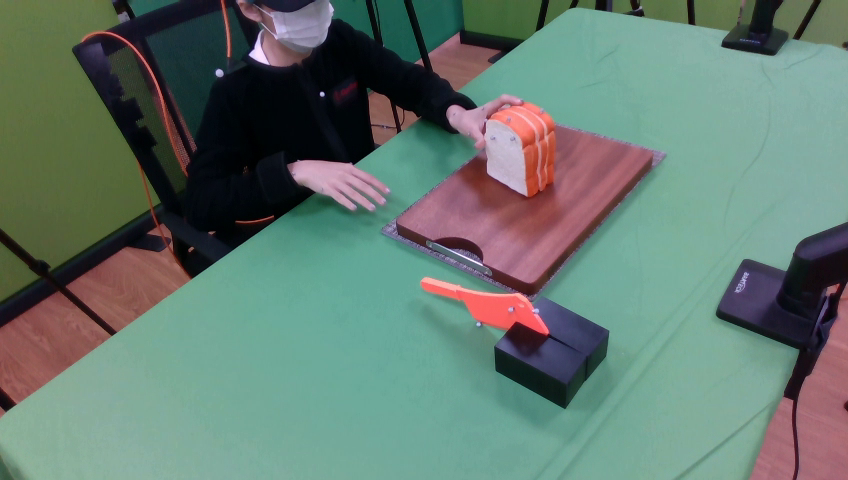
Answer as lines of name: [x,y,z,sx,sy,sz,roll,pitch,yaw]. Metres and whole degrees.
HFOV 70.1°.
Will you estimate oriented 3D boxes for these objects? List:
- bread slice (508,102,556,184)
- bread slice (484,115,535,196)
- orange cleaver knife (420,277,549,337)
bread slice: [0.179,-0.164,1.012,0.018,0.135,0.106,-34,52,-25]
bread slice: [0.138,-0.142,0.991,0.019,0.132,0.104,-34,47,-22]
orange cleaver knife: [0.076,0.089,0.813,0.209,0.077,0.012,9,44,47]
